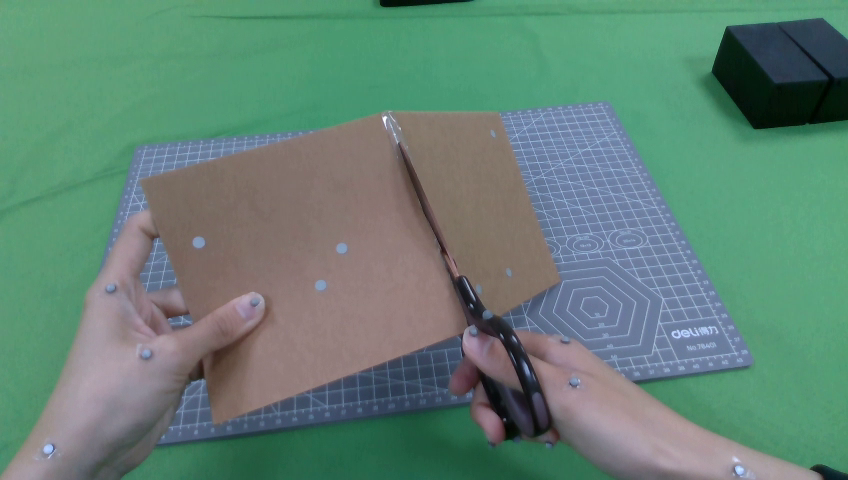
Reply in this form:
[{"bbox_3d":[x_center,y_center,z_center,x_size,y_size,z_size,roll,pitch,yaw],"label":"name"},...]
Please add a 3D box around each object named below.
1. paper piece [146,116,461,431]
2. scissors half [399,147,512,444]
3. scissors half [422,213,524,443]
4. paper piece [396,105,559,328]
[{"bbox_3d":[-0.060,0.012,0.323,0.136,0.004,0.135,-18,84,-14],"label":"paper piece"},{"bbox_3d":[0.016,0.029,0.339,0.013,0.040,0.175,-20,87,-6],"label":"scissors half"},{"bbox_3d":[0.014,0.021,0.317,0.013,0.040,0.173,-21,55,-2],"label":"scissors half"},{"bbox_3d":[0.041,-0.021,0.393,0.008,0.136,0.138,-16,0,35],"label":"paper piece"}]
